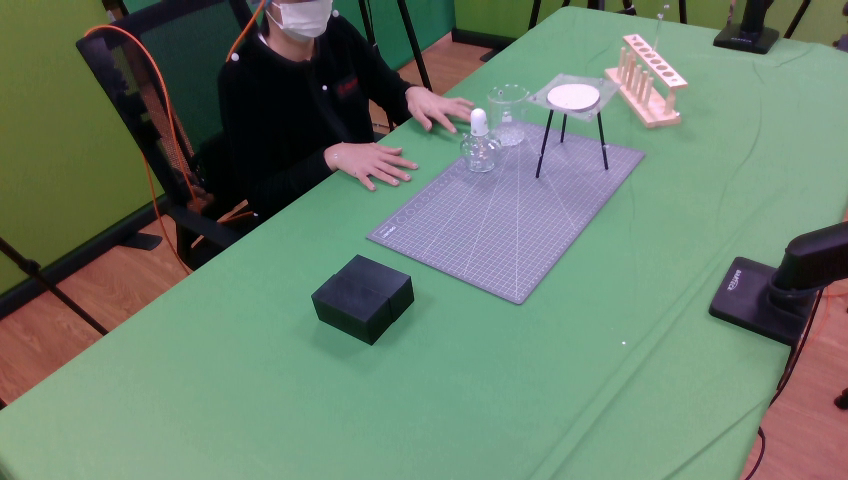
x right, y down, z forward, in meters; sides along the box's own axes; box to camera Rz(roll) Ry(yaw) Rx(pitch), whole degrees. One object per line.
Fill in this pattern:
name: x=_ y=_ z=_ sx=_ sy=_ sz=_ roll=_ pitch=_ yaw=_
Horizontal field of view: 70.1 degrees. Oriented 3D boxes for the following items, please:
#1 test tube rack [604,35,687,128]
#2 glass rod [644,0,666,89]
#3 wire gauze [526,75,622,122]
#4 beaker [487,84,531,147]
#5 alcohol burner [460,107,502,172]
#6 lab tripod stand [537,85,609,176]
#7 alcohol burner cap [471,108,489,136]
test tube rack: x=0.447 y=-0.330 z=1.241 sx=0.067 sy=0.085 sz=0.241 roll=-9 pitch=41 yaw=-2
glass rod: x=0.465 y=-0.397 z=1.215 sx=0.008 sy=0.200 sz=0.008 roll=0 pitch=39 yaw=1
wire gauze: x=0.255 y=-0.248 z=1.030 sx=0.124 sy=0.011 sz=0.122 roll=24 pitch=51 yaw=32
beaker: x=0.163 y=-0.237 z=1.161 sx=0.084 sy=0.101 sz=0.073 roll=-10 pitch=41 yaw=-3
alcohol burner: x=0.102 y=-0.185 z=1.098 sx=0.078 sy=0.119 sz=0.077 roll=-6 pitch=40 yaw=5
lab tripod stand: x=0.259 y=-0.192 z=1.068 sx=0.148 sy=0.132 sz=0.147 roll=-4 pitch=42 yaw=4
alcohol burner cap: x=0.098 y=-0.211 z=1.074 sx=0.034 sy=0.048 sz=0.033 roll=-6 pitch=42 yaw=6
